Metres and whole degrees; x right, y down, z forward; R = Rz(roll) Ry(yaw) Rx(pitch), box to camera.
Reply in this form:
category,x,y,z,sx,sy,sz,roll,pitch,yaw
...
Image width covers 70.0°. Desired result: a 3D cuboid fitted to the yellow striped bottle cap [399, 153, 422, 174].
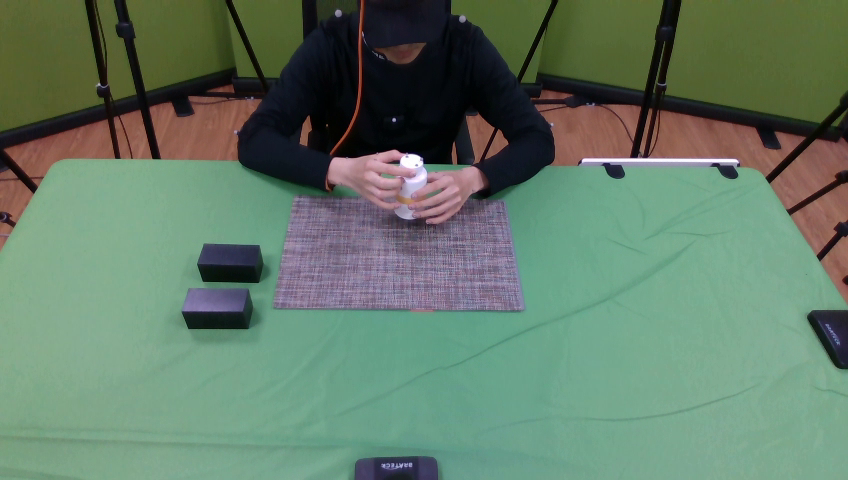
category,x,y,z,sx,sy,sz,roll,pitch,yaw
yellow striped bottle cap,-0.025,-0.144,1.137,0.044,0.019,0.044,5,44,-5

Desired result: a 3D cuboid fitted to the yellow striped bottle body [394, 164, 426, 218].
category,x,y,z,sx,sy,sz,roll,pitch,yaw
yellow striped bottle body,-0.027,-0.106,1.174,0.063,0.121,0.062,1,43,0
